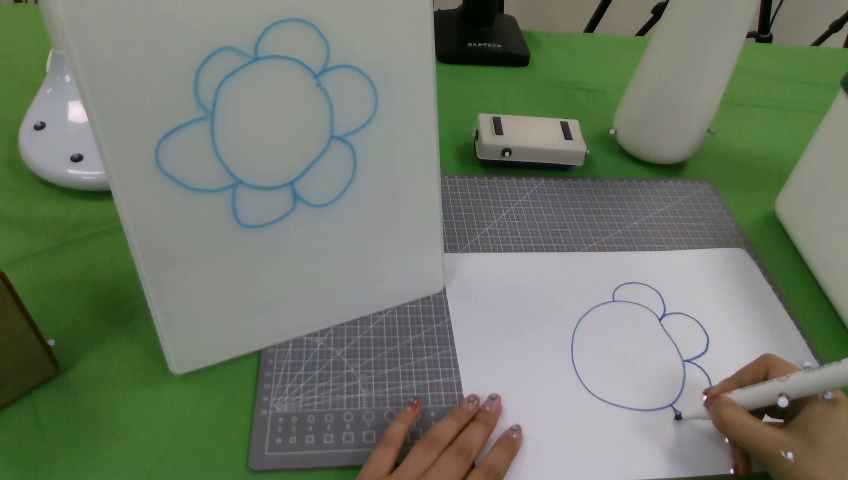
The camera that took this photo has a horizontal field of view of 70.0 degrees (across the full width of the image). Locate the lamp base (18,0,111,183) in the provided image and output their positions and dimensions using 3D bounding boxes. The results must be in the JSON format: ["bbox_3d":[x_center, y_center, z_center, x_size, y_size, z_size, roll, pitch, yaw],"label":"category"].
[{"bbox_3d":[-0.300,-0.168,0.532,0.178,0.182,0.160,30,50,22],"label":"lamp base"}]

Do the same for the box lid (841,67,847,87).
[{"bbox_3d":[0.495,-0.018,0.422,0.264,0.015,0.367,2,46,-7],"label":"box lid"}]

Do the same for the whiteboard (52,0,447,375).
[{"bbox_3d":[-0.114,-0.094,0.444,0.218,0.308,0.142,-15,32,-21],"label":"whiteboard"}]

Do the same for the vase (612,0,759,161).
[{"bbox_3d":[0.267,-0.179,0.617,0.098,0.201,0.097,5,46,-5],"label":"vase"}]

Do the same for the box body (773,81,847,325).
[{"bbox_3d":[0.489,0.032,0.478,0.255,0.161,0.360,1,47,-7],"label":"box body"}]

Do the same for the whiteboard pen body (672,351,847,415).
[{"bbox_3d":[0.223,0.097,0.398,0.017,0.141,0.017,19,54,-28],"label":"whiteboard pen body"}]

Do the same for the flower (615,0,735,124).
[{"bbox_3d":[0.287,-0.225,0.549,0.044,0.363,0.038,-21,70,-34],"label":"flower"}]

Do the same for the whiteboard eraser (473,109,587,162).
[{"bbox_3d":[0.109,-0.107,0.634,0.113,0.042,0.055,1,44,-6],"label":"whiteboard eraser"}]

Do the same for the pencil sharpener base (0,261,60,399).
[{"bbox_3d":[-0.293,0.045,0.382,0.076,0.108,0.061,35,52,24],"label":"pencil sharpener base"}]
